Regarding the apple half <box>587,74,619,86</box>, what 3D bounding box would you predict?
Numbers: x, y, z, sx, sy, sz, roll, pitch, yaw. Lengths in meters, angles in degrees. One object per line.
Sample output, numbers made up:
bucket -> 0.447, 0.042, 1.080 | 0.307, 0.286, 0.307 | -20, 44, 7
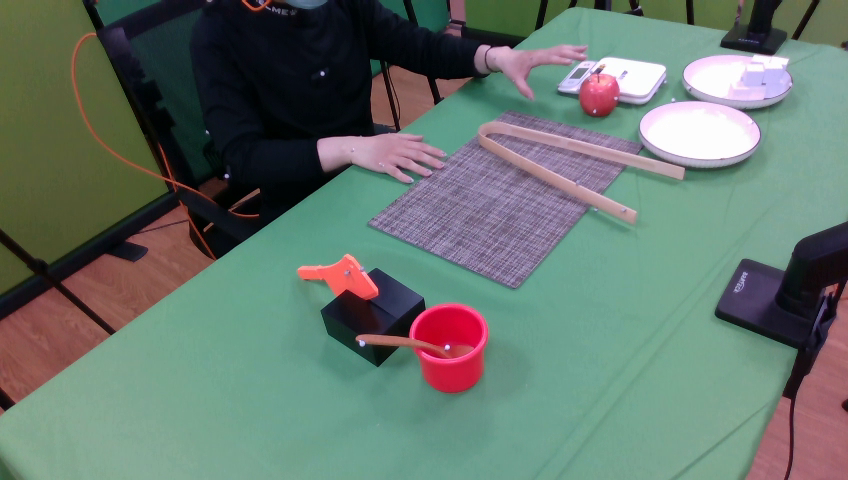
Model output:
apple half -> 0.366, -0.310, 1.243 | 0.081, 0.081, 0.033 | 15, 49, 24

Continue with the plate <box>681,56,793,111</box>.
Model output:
plate -> 0.636, -0.317, 1.239 | 0.207, 0.039, 0.206 | -4, 40, 4

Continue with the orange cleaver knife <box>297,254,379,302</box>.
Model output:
orange cleaver knife -> -0.128, 0.058, 0.874 | 0.012, 0.077, 0.210 | -38, 16, -30

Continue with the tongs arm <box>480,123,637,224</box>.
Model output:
tongs arm -> 0.227, -0.128, 1.080 | 0.051, 0.026, 0.381 | -33, 46, -25

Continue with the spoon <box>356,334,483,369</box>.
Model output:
spoon -> -0.001, 0.130, 0.731 | 0.195, 0.021, 0.041 | 21, 27, -39

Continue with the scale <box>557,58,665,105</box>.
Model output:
scale -> 0.407, -0.348, 1.314 | 0.199, 0.032, 0.149 | 19, 47, 28

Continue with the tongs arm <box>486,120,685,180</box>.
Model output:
tongs arm -> 0.287, -0.171, 1.123 | 0.384, 0.028, 0.028 | 21, 53, 29

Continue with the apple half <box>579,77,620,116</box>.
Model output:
apple half -> 0.348, -0.285, 1.218 | 0.080, 0.075, 0.053 | 17, 49, 21

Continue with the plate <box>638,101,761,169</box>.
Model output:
plate -> 0.500, -0.189, 1.111 | 0.209, 0.038, 0.208 | -4, 41, 4
